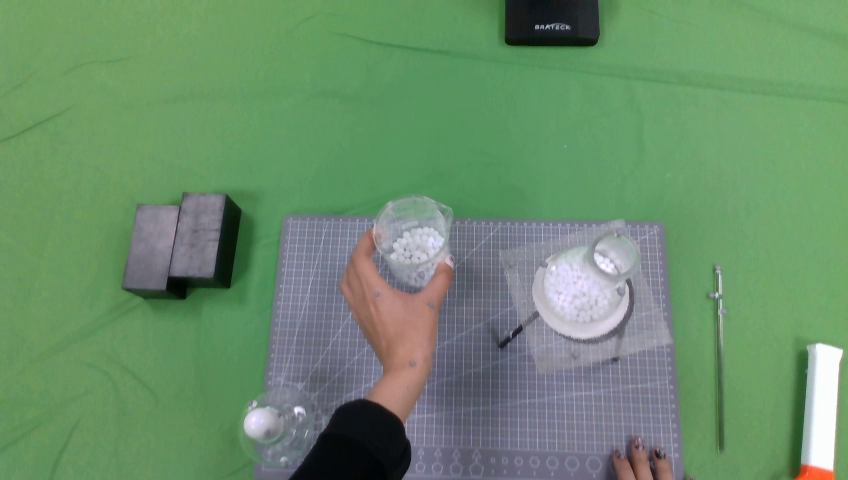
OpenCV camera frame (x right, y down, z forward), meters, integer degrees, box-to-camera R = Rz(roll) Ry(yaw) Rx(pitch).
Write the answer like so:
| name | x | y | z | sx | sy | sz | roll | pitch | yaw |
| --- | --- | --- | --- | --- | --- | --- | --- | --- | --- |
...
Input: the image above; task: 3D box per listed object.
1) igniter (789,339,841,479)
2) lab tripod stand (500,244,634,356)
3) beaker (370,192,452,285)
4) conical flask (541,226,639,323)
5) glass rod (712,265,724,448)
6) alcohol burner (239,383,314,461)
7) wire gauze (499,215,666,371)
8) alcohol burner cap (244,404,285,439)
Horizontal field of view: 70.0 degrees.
| name | x | y | z | sx | sy | sz | roll | pitch | yaw |
| --- | --- | --- | --- | --- | --- | --- | --- | --- | --- |
| igniter | 0.395 | 0.238 | 0.613 | 0.057 | 0.025 | 0.275 | 16 | 74 | -3 |
| lab tripod stand | 0.148 | 0.069 | 0.617 | 0.148 | 0.132 | 0.147 | -1 | 75 | 3 |
| beaker | -0.007 | 0.002 | 0.626 | 0.084 | 0.101 | 0.073 | -29 | 72 | -5 |
| conical flask | 0.141 | 0.024 | 0.499 | 0.075 | 0.122 | 0.075 | -1 | 75 | 2 |
| glass rod | 0.320 | 0.123 | 0.661 | 0.008 | 0.008 | 0.198 | 6 | 73 | 4 |
| alcohol burner | -0.151 | 0.181 | 0.605 | 0.078 | 0.119 | 0.077 | 0 | 74 | 1 |
| wire gauze | 0.144 | 0.047 | 0.554 | 0.125 | 0.011 | 0.121 | -14 | 76 | -4 |
| alcohol burner cap | -0.152 | 0.170 | 0.571 | 0.034 | 0.048 | 0.033 | 1 | 71 | -2 |
